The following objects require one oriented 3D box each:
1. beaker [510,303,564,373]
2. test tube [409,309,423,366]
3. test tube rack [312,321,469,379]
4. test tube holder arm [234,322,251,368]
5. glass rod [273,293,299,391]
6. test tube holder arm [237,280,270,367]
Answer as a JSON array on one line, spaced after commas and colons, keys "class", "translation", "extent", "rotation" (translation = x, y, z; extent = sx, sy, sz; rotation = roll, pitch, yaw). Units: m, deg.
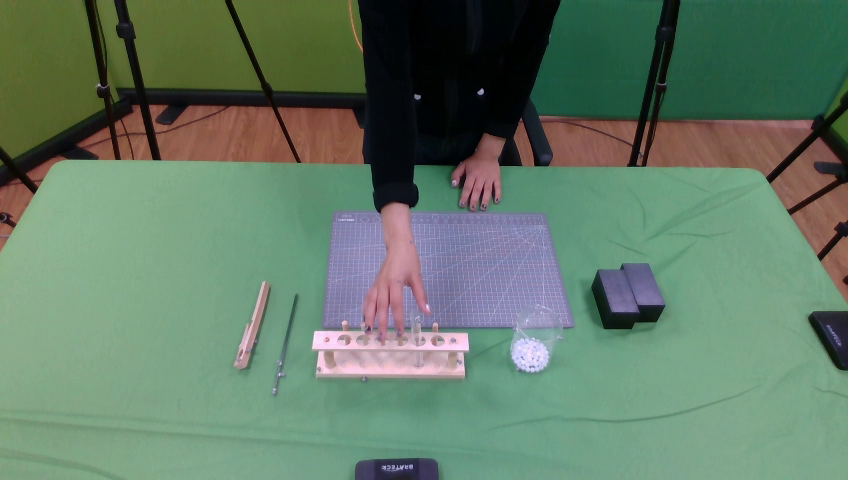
[{"class": "beaker", "translation": [0.182, 0.164, 1.000], "extent": [0.074, 0.101, 0.083], "rotation": [2, 45, -1]}, {"class": "test tube", "translation": [-0.012, 0.154, 0.937], "extent": [0.017, 0.151, 0.017], "rotation": [-1, 50, 2]}, {"class": "test tube rack", "translation": [-0.053, 0.174, 0.984], "extent": [0.242, 0.085, 0.066], "rotation": [1, 46, -3]}, {"class": "test tube holder arm", "translation": [-0.299, 0.174, 1.013], "extent": [0.010, 0.015, 0.087], "rotation": [-18, 41, 23]}, {"class": "glass rod", "translation": [-0.233, 0.167, 1.030], "extent": [0.008, 0.008, 0.198], "rotation": [3, 46, 0]}, {"class": "test tube holder arm", "translation": [-0.290, 0.140, 1.042], "extent": [0.013, 0.015, 0.177], "rotation": [-18, 41, 23]}]
